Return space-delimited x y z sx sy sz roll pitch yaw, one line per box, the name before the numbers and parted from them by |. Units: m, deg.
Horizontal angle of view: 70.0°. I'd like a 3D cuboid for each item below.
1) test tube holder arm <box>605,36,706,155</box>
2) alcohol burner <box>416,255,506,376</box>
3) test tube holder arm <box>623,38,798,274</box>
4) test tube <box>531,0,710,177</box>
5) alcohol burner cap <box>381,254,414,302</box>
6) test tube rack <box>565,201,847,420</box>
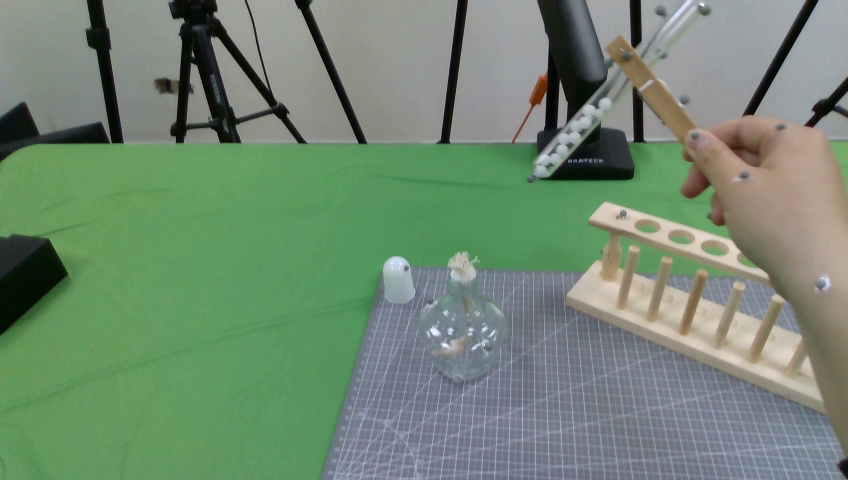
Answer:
test tube holder arm | 0.146 -0.092 0.385 0.087 0.015 0.010 53 30 4
alcohol burner | 0.031 0.059 0.512 0.078 0.120 0.077 -2 39 2
test tube holder arm | 0.174 -0.056 0.383 0.177 0.015 0.013 57 31 11
test tube | 0.124 -0.098 0.400 0.017 0.150 0.017 32 28 -19
alcohol burner cap | -0.028 0.035 0.609 0.034 0.048 0.033 -2 38 2
test tube rack | 0.249 0.051 0.523 0.240 0.086 0.066 23 45 31
